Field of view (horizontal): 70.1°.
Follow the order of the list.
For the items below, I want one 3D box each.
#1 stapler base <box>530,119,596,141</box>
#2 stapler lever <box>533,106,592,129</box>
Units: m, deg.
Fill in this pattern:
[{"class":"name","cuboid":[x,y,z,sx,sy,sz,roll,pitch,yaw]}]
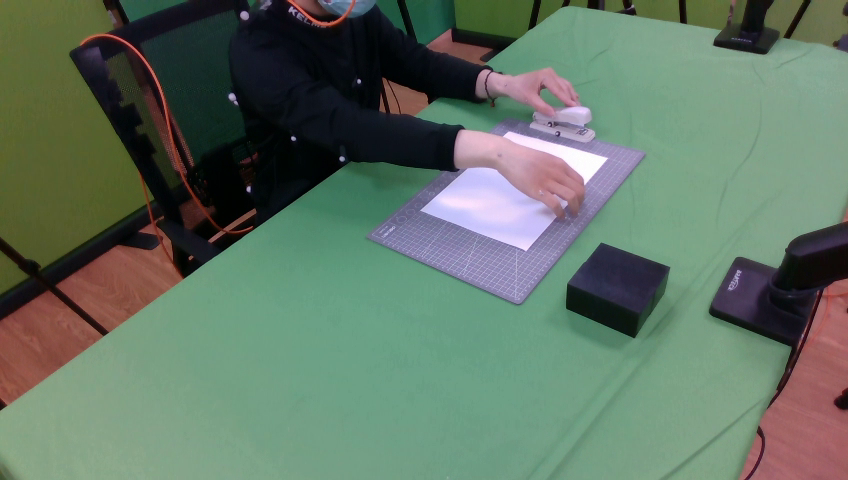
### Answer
[{"class":"stapler base","cuboid":[0.274,-0.226,1.188,0.129,0.024,0.041,22,47,32]},{"class":"stapler lever","cuboid":[0.269,-0.245,1.173,0.117,0.040,0.027,22,47,32]}]
